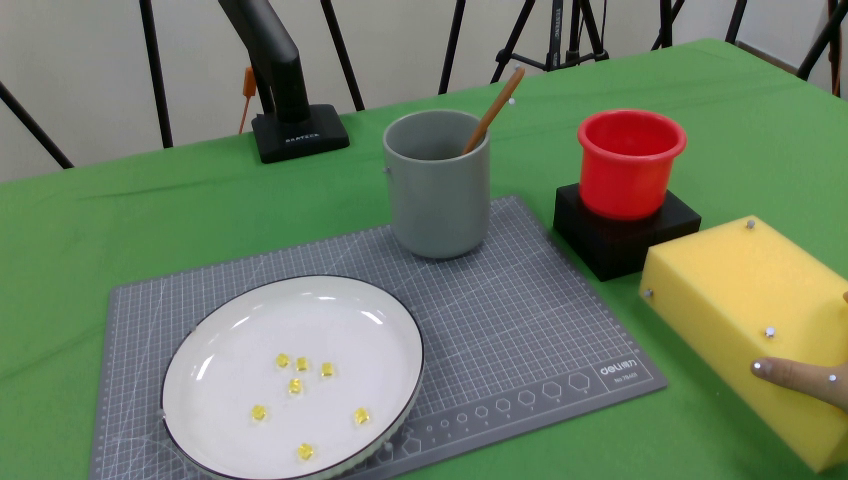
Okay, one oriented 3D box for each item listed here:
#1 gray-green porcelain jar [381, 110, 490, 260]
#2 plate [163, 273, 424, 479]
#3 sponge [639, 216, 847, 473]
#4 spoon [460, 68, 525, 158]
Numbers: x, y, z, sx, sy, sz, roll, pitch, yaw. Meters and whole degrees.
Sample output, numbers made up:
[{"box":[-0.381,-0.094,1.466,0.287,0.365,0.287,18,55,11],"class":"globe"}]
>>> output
[{"box":[0.014,-0.052,0.617,0.106,0.127,0.105,-3,39,2],"class":"gray-green porcelain jar"},{"box":[-0.102,0.109,0.498,0.207,0.039,0.205,-2,39,2],"class":"plate"},{"box":[0.293,0.071,0.499,0.118,0.061,0.204,-17,40,-16],"class":"sponge"},{"box":[0.043,-0.081,0.593,0.022,0.194,0.041,19,30,-16],"class":"spoon"}]
